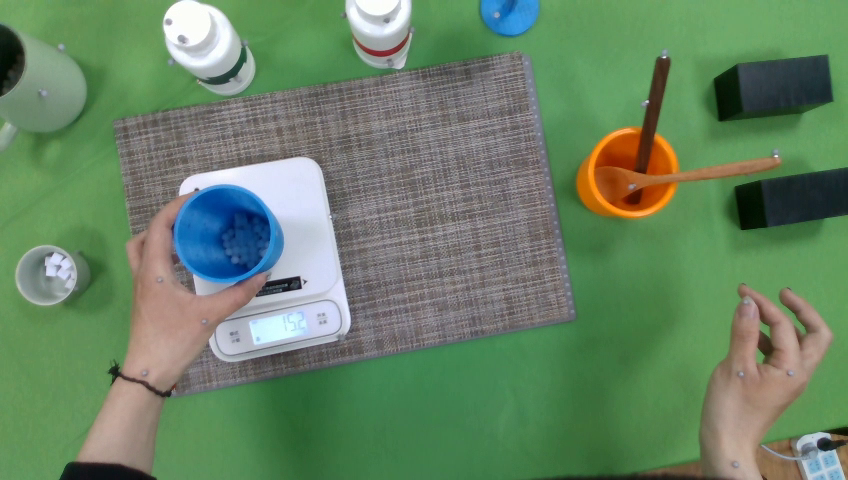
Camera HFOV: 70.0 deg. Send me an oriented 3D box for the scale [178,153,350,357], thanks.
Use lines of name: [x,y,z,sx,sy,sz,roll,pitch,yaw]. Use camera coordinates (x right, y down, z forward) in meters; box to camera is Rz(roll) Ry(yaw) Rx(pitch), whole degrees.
scale: [-0.168,0.016,0.640,0.149,0.031,0.200,-12,90,-2]

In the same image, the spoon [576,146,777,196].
spoon: [0.243,-0.071,0.605,0.021,0.192,0.042,-31,110,-43]

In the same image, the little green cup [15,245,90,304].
little green cup: [-0.384,0.036,0.631,0.061,0.038,0.061,0,90,-4]

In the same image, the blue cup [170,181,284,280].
blue cup: [-0.170,-0.004,0.562,0.093,0.100,0.092,0,85,-2]

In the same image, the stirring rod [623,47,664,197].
stirring rod: [0.217,-0.110,0.604,0.014,0.178,0.005,4,48,12]

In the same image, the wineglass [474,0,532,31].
wineglass: [0.090,-0.268,0.590,0.074,0.172,0.073,0,88,-2]

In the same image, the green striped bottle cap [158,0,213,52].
green striped bottle cap: [-0.216,-0.194,0.547,0.044,0.020,0.044,0,88,-1]

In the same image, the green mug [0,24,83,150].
green mug: [-0.414,-0.145,0.601,0.092,0.105,0.125,24,88,-2]

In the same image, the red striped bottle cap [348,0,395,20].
red striped bottle cap: [-0.049,-0.227,0.557,0.044,0.018,0.044,0,86,-2]

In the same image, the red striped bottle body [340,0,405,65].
red striped bottle body: [-0.051,-0.225,0.610,0.063,0.119,0.063,0,88,-3]

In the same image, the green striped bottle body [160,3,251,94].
green striped bottle body: [-0.217,-0.191,0.602,0.063,0.119,0.063,0,88,-2]
